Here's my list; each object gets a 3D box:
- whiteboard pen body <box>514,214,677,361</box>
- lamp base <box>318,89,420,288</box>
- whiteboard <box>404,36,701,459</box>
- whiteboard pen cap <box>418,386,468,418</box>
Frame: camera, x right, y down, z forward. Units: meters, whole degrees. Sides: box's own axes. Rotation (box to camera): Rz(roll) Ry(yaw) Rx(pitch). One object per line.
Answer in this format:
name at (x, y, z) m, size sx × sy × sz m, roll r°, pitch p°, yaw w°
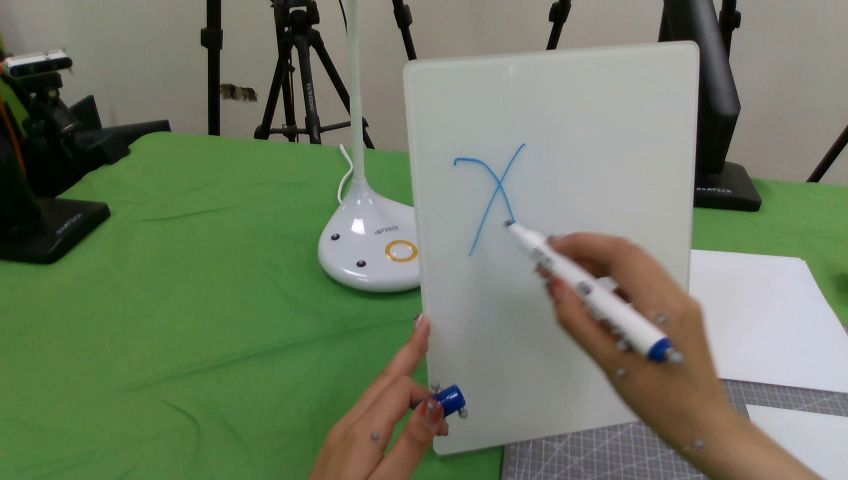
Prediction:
whiteboard pen body at (0.097, 0.022, 0.369) m, size 0.017 × 0.017 × 0.139 m, roll -18°, pitch 43°, yaw -24°
lamp base at (-0.051, -0.065, 0.670) m, size 0.161 × 0.182 × 0.177 m, roll -23°, pitch 38°, yaw -30°
whiteboard at (0.093, -0.003, 0.518) m, size 0.217 × 0.307 × 0.143 m, roll -7°, pitch 16°, yaw -8°
whiteboard pen cap at (0.013, 0.106, 0.398) m, size 0.033 × 0.018 × 0.018 m, roll -25°, pitch 20°, yaw 34°
